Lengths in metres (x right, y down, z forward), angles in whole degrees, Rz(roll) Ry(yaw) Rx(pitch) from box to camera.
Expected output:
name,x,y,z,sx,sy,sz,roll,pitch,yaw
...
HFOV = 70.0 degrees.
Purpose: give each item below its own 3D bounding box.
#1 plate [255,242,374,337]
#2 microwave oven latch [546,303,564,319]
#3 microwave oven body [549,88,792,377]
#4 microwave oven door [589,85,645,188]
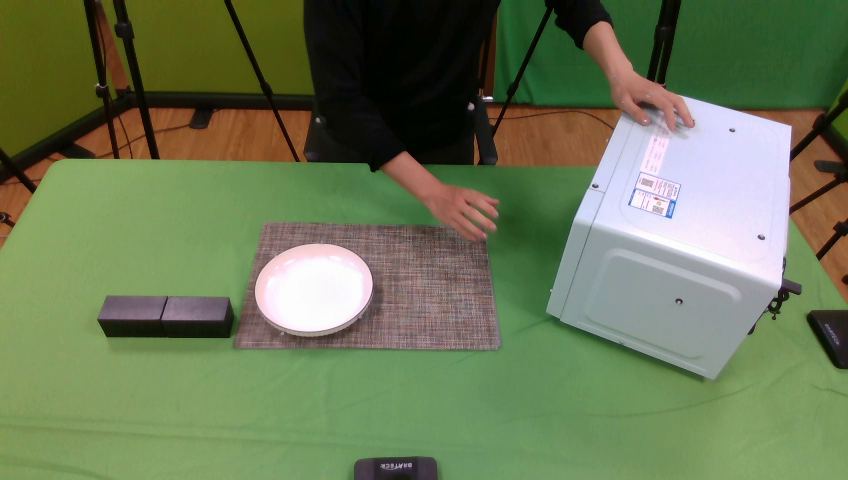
name,x,y,z,sx,sy,sz,roll,pitch,yaw
plate,-0.192,0.090,1.079,0.208,0.039,0.206,2,46,-2
microwave oven latch,0.242,0.102,1.081,0.030,0.029,0.079,22,48,17
microwave oven body,0.456,-0.028,1.088,0.325,0.261,0.440,20,47,16
microwave oven door,0.342,-0.107,1.149,0.039,0.245,0.354,20,48,15
